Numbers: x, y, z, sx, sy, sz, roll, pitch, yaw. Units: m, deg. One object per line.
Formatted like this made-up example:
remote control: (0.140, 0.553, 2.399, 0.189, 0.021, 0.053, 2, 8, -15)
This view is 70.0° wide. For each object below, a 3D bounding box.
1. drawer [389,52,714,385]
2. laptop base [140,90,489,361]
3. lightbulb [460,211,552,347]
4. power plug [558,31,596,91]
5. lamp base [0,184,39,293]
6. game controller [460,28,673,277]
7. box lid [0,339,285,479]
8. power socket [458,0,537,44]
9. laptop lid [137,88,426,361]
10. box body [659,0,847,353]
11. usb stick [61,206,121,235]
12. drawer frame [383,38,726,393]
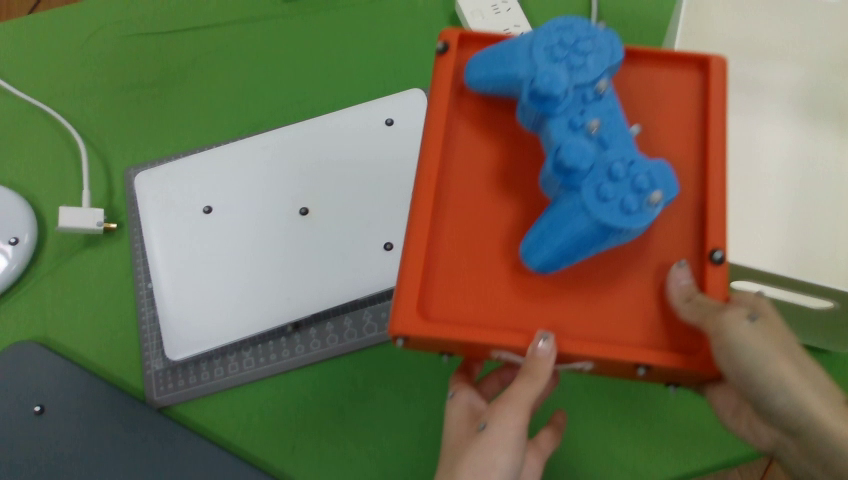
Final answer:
drawer: (0.090, -0.016, 0.415, 0.194, 0.074, 0.210, 6, 72, 7)
laptop base: (-0.129, -0.027, 0.682, 0.354, 0.023, 0.233, -18, 70, -5)
lightbulb: (0.049, 0.022, 0.412, 0.059, 0.060, 0.106, -15, 53, -3)
power plug: (0.192, -0.213, 0.734, 0.072, 0.053, 0.035, -34, 63, -30)
lamp base: (-0.533, -0.034, 0.623, 0.160, 0.182, 0.178, -43, 67, -15)
game controller: (0.088, -0.062, 0.375, 0.097, 0.052, 0.154, -14, 73, -7)
box lid: (-0.328, 0.274, 0.565, 0.370, 0.015, 0.262, 24, 70, 13)
power socket: (0.106, -0.236, 0.753, 0.072, 0.033, 0.224, -17, 66, -5)
laptop lid: (-0.130, -0.030, 0.670, 0.357, 0.013, 0.239, -17, 69, -4)
box body: (0.351, -0.094, 0.603, 0.253, 0.161, 0.362, 15, 68, 10)
usb stick: (-0.375, -0.021, 0.683, 0.059, 0.021, 0.027, 8, 67, -29)
drawer frame: (0.090, -0.018, 0.415, 0.201, 0.083, 0.212, 6, 72, 5)
